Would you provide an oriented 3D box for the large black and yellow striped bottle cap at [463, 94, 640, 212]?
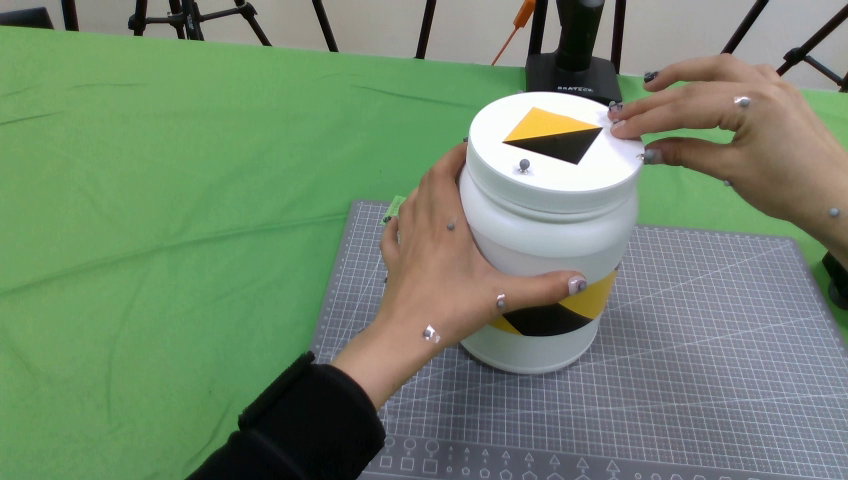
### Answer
[{"bbox_3d":[0.083,-0.061,0.401,0.115,0.019,0.114,2,43,-1],"label":"large black and yellow striped bottle cap"}]

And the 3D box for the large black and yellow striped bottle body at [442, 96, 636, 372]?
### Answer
[{"bbox_3d":[0.082,-0.002,0.461,0.131,0.185,0.129,1,45,-1],"label":"large black and yellow striped bottle body"}]
